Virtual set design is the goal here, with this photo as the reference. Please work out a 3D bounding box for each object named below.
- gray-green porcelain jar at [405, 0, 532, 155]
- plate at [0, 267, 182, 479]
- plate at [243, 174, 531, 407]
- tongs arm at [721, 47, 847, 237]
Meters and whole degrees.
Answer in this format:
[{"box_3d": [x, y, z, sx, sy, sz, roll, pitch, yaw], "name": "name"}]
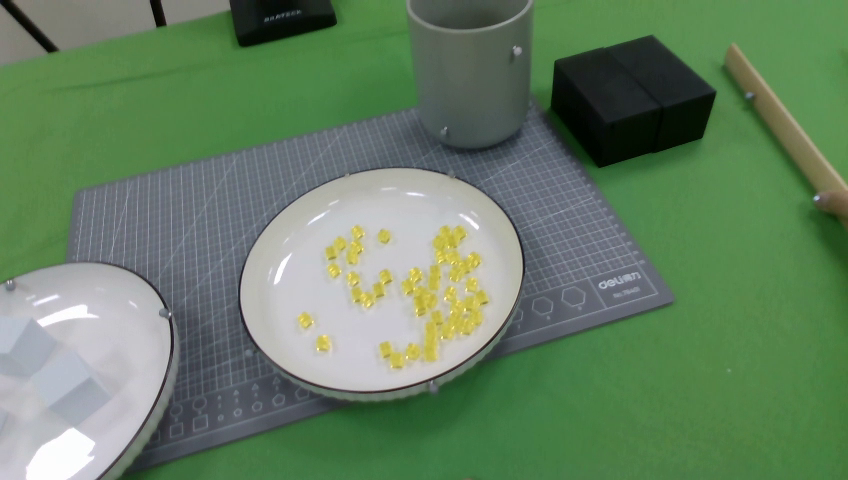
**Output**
[{"box_3d": [0.042, -0.149, 0.544, 0.106, 0.128, 0.105, -4, 48, 4], "name": "gray-green porcelain jar"}, {"box_3d": [-0.264, 0.110, 0.413, 0.209, 0.038, 0.207, -4, 49, 5], "name": "plate"}, {"box_3d": [-0.026, 0.033, 0.452, 0.207, 0.039, 0.205, -3, 48, 4], "name": "plate"}, {"box_3d": [0.331, -0.043, 0.484, 0.028, 0.028, 0.383, -8, 49, -4], "name": "tongs arm"}]
